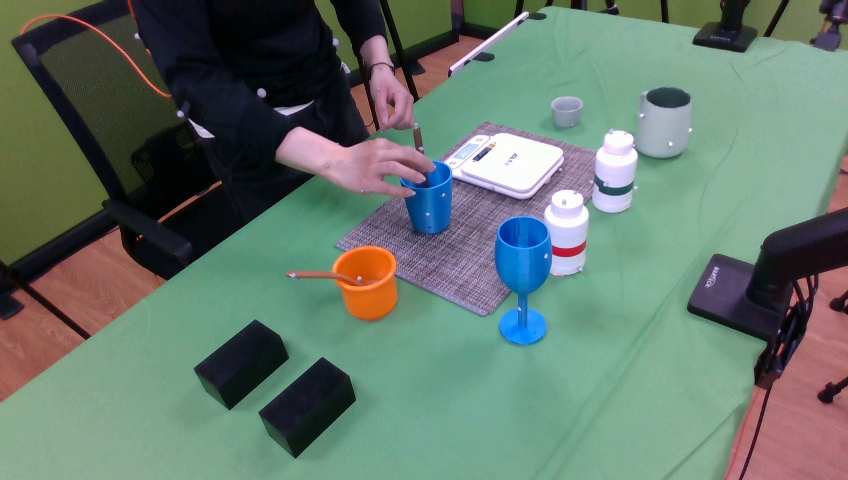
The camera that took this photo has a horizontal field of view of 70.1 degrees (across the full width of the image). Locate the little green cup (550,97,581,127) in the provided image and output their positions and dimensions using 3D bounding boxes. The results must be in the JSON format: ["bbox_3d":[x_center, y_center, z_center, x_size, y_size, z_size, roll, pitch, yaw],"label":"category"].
[{"bbox_3d":[0.284,-0.255,1.213,0.061,0.039,0.061,-5,41,5],"label":"little green cup"}]

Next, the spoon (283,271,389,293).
[{"bbox_3d":[-0.117,0.054,0.825,0.041,0.195,0.021,22,92,37],"label":"spoon"}]

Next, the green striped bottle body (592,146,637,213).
[{"bbox_3d":[0.307,-0.108,0.976,0.063,0.120,0.063,-4,41,4],"label":"green striped bottle body"}]

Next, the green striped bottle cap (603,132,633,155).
[{"bbox_3d":[0.301,-0.149,0.938,0.044,0.020,0.044,-3,39,3],"label":"green striped bottle cap"}]

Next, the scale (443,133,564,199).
[{"bbox_3d":[0.137,-0.142,1.101,0.199,0.032,0.149,22,48,30],"label":"scale"}]

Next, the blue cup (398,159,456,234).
[{"bbox_3d":[0.006,-0.065,0.977,0.092,0.100,0.092,-4,39,4],"label":"blue cup"}]

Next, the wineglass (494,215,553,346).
[{"bbox_3d":[0.127,0.055,0.770,0.074,0.173,0.073,-4,40,4],"label":"wineglass"}]

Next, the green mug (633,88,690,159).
[{"bbox_3d":[0.423,-0.217,1.099,0.093,0.105,0.124,-16,41,-10],"label":"green mug"}]

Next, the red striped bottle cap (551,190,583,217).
[{"bbox_3d":[0.199,-0.052,0.843,0.044,0.018,0.044,-2,41,2],"label":"red striped bottle cap"}]

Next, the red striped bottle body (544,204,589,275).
[{"bbox_3d":[0.206,-0.011,0.877,0.063,0.120,0.062,-5,41,4],"label":"red striped bottle body"}]

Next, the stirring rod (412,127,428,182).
[{"bbox_3d":[0.001,-0.094,0.931,0.006,0.177,0.014,15,43,31],"label":"stirring rod"}]
